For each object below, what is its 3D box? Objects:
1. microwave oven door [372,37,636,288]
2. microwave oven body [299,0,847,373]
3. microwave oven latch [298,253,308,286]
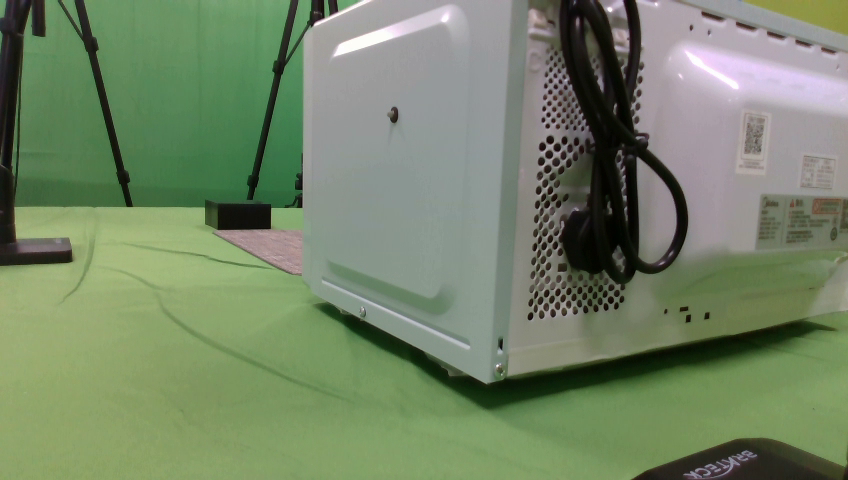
[{"bbox_3d":[0.110,-0.080,0.686,0.358,0.243,0.039,-2,9,-33],"label":"microwave oven door"},{"bbox_3d":[0.152,-0.055,0.542,0.444,0.260,0.324,-2,7,-32],"label":"microwave oven body"},{"bbox_3d":[-0.081,0.027,0.582,0.079,0.029,0.030,-1,7,-32],"label":"microwave oven latch"}]
